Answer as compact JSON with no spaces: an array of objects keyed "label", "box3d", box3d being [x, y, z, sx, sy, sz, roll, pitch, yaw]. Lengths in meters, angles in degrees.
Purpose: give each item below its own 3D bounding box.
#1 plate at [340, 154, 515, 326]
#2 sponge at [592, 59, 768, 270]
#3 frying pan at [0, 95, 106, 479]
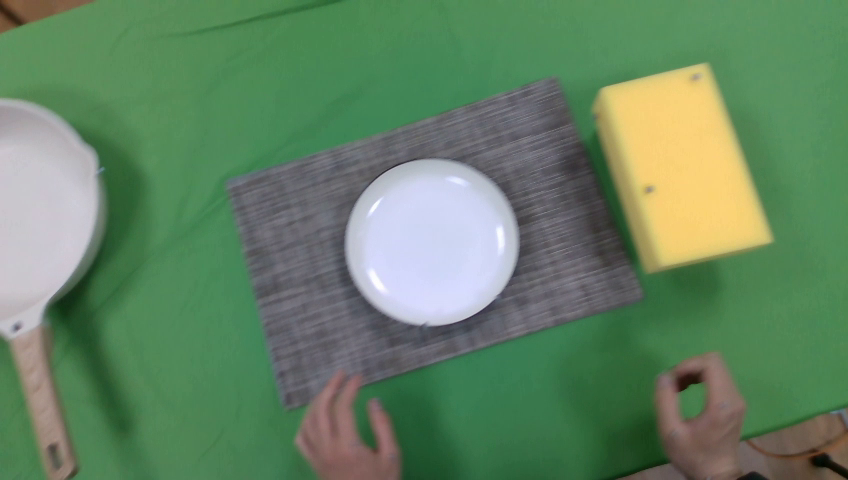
[{"label":"plate","box3d":[0.004,0.001,0.730,0.207,0.039,0.207,-1,80,4]},{"label":"sponge","box3d":[0.275,-0.081,0.665,0.118,0.061,0.206,-14,79,2]},{"label":"frying pan","box3d":[-0.493,0.055,0.729,0.307,0.103,0.484,-25,71,1]}]
